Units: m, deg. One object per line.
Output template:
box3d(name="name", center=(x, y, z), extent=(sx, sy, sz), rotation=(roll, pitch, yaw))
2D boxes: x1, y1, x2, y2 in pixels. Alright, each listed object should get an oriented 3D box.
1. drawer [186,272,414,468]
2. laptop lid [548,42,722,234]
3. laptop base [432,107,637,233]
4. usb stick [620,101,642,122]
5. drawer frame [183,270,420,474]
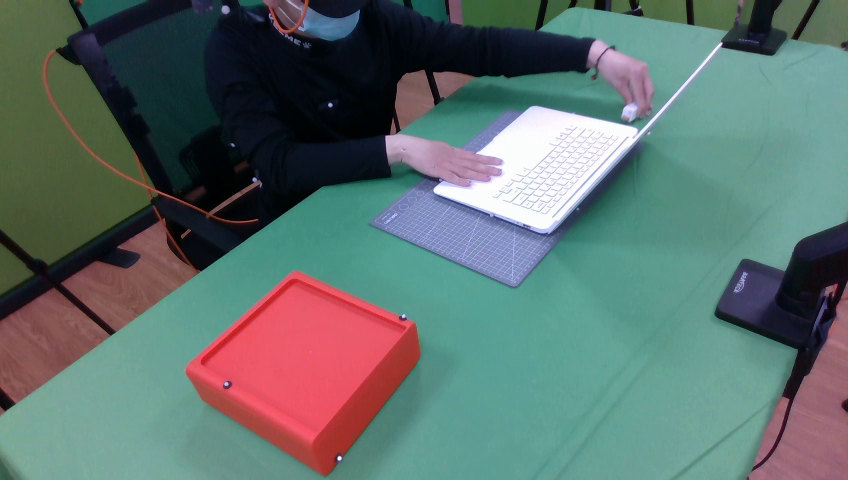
box3d(name="drawer", center=(-0.151, 0.154, 0.767), extent=(0.210, 0.073, 0.195), rotation=(20, 46, 28))
box3d(name="laptop lid", center=(0.335, -0.161, 0.956), extent=(0.013, 0.241, 0.358), rotation=(42, 54, 8))
box3d(name="laptop base", center=(0.210, -0.142, 1.111), extent=(0.233, 0.023, 0.355), rotation=(21, 47, 33))
box3d(name="usb stick", center=(0.407, -0.253, 1.197), extent=(0.021, 0.027, 0.059), rotation=(30, 48, 30))
box3d(name="drawer frame", center=(-0.149, 0.153, 0.767), extent=(0.212, 0.083, 0.202), rotation=(20, 46, 27))
